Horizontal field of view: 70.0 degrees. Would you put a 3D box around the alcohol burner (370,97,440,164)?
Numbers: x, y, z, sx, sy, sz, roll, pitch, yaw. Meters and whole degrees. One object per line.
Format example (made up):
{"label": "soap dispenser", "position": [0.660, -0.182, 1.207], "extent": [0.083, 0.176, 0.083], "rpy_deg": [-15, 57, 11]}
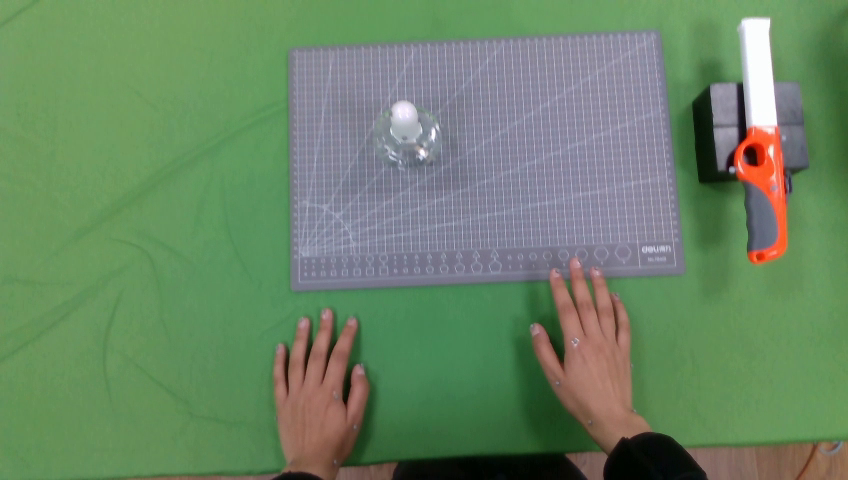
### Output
{"label": "alcohol burner", "position": [-0.021, -0.125, 0.660], "extent": [0.078, 0.119, 0.077], "rpy_deg": [0, 81, 0]}

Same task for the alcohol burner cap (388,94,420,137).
{"label": "alcohol burner cap", "position": [-0.022, -0.131, 0.624], "extent": [0.034, 0.048, 0.033], "rpy_deg": [-1, 75, 3]}

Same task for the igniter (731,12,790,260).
{"label": "igniter", "position": [0.359, -0.115, 0.650], "extent": [0.057, 0.025, 0.275], "rpy_deg": [2, 80, 4]}
